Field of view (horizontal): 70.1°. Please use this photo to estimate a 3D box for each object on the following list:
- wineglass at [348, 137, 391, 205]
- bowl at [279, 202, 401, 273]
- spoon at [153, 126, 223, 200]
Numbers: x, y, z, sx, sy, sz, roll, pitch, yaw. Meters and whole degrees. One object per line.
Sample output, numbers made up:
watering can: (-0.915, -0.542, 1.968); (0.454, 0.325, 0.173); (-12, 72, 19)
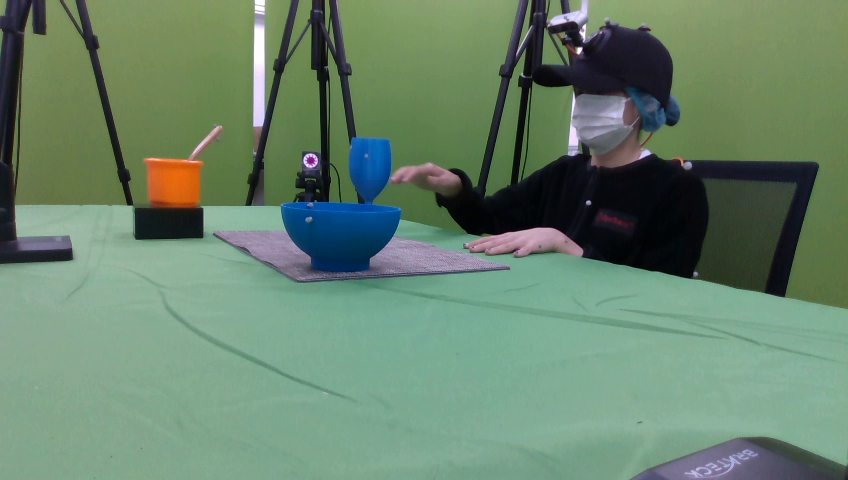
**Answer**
wineglass: (-0.092, -0.081, 0.997); (0.074, 0.172, 0.073); (3, 7, 0)
bowl: (-0.105, -0.003, 0.756); (0.151, 0.077, 0.151); (3, 7, 0)
spoon: (-0.393, -0.134, 1.026); (0.041, 0.193, 0.022); (10, -35, 19)
